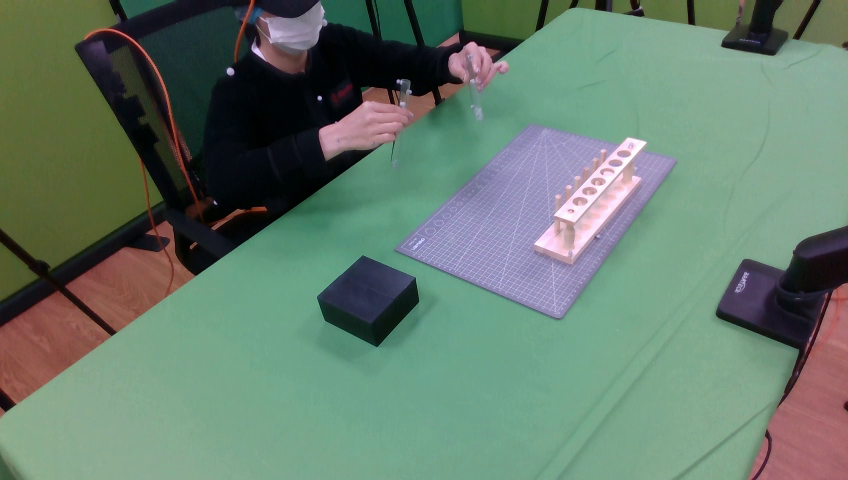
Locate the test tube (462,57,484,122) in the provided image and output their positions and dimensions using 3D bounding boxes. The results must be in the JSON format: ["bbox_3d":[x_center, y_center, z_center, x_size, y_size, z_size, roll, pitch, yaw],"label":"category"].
[{"bbox_3d":[0.087,-0.261,1.064,0.017,0.151,0.017,-7,57,11],"label":"test tube"}]

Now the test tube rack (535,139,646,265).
[{"bbox_3d":[0.269,-0.071,0.964,0.066,0.085,0.243,23,49,32],"label":"test tube rack"}]

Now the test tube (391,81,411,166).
[{"bbox_3d":[-0.040,-0.195,1.024,0.017,0.150,0.017,8,29,-4],"label":"test tube"}]
